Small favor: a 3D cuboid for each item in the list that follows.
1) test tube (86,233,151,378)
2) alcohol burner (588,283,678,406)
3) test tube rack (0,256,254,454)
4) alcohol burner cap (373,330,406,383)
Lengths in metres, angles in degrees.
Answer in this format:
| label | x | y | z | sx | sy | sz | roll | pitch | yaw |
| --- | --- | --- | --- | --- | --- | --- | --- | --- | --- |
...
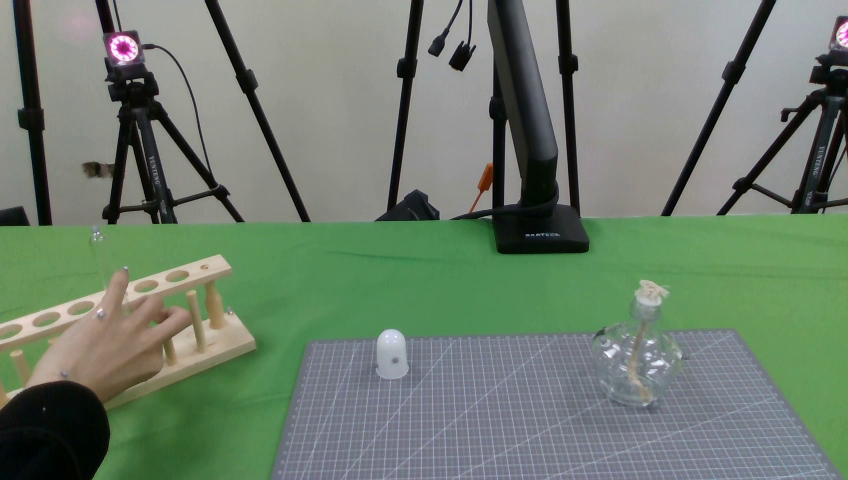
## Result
| label | x | y | z | sx | sy | sz | roll | pitch | yaw |
| --- | --- | --- | --- | --- | --- | --- | --- | --- | --- |
| test tube | -0.274 | 0.062 | 0.545 | 0.017 | 0.151 | 0.017 | -3 | 27 | 2 |
| alcohol burner | 0.188 | 0.088 | 0.538 | 0.078 | 0.120 | 0.077 | 1 | 30 | 0 |
| test tube rack | -0.294 | 0.101 | 0.571 | 0.243 | 0.086 | 0.066 | -20 | 35 | -30 |
| alcohol burner cap | -0.034 | 0.109 | 0.583 | 0.034 | 0.048 | 0.033 | -1 | 29 | 1 |
